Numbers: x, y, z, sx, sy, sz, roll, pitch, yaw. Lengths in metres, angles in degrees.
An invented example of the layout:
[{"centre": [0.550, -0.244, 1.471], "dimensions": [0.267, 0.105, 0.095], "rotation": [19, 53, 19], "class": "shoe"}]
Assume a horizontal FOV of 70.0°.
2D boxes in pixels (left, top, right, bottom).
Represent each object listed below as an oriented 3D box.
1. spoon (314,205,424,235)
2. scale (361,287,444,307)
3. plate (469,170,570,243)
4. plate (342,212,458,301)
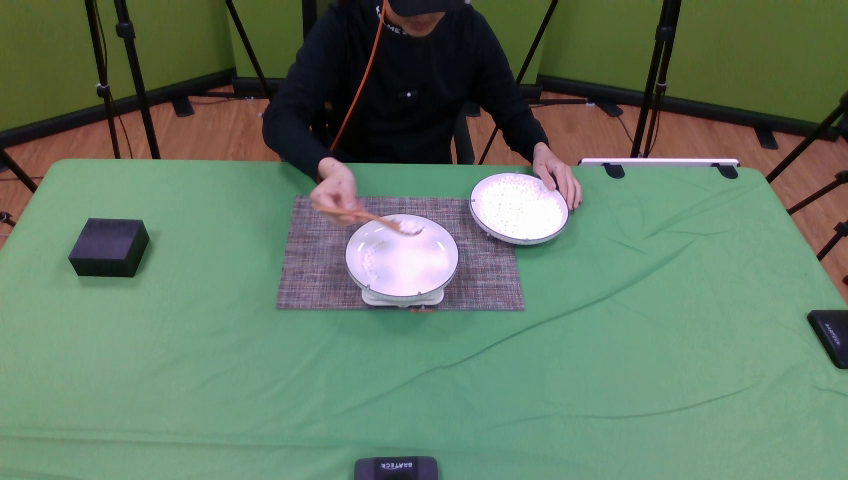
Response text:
[{"centre": [-0.091, -0.039, 1.034], "dimensions": [0.194, 0.022, 0.041], "rotation": [14, 33, -23], "class": "spoon"}, {"centre": [-0.042, 0.040, 1.143], "dimensions": [0.149, 0.032, 0.199], "rotation": [0, 46, -4], "class": "scale"}, {"centre": [0.196, -0.066, 1.259], "dimensions": [0.209, 0.038, 0.208], "rotation": [3, 46, -3], "class": "plate"}, {"centre": [-0.043, 0.033, 1.105], "dimensions": [0.208, 0.039, 0.206], "rotation": [2, 46, -2], "class": "plate"}]
